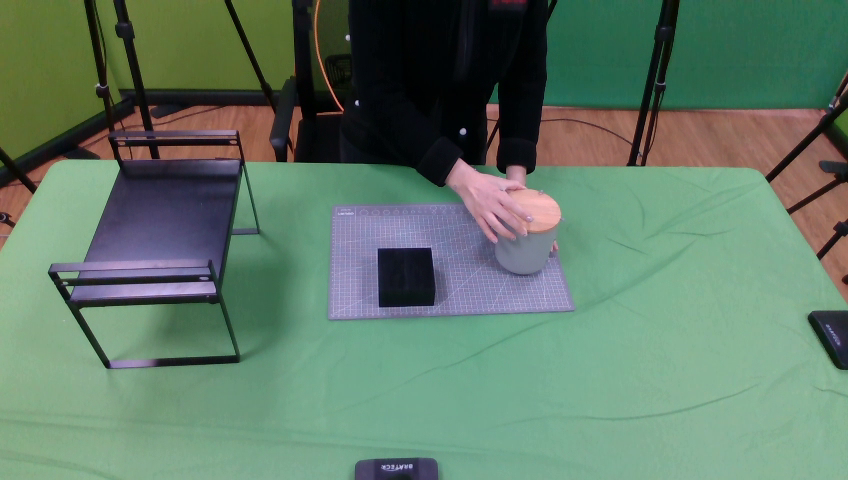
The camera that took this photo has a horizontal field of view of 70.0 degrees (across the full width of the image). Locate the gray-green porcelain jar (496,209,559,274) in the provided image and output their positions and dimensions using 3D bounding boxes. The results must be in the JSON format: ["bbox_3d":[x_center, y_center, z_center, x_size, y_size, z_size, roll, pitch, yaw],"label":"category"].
[{"bbox_3d":[0.192,-0.007,1.141,0.106,0.127,0.105,2,46,-2],"label":"gray-green porcelain jar"}]

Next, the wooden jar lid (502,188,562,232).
[{"bbox_3d":[0.194,-0.051,1.093,0.108,0.021,0.107,4,47,-4],"label":"wooden jar lid"}]
